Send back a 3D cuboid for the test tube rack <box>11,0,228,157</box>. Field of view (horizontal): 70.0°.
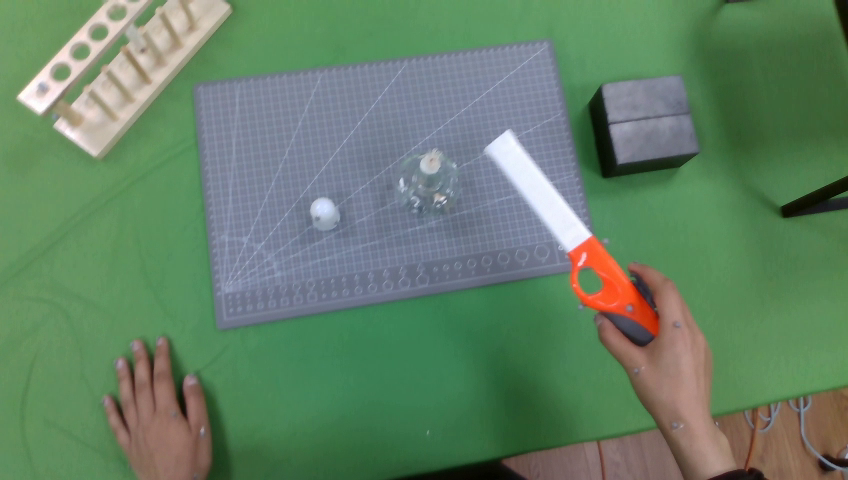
[{"bbox_3d":[-0.339,-0.220,0.696,0.066,0.085,0.242,35,78,4],"label":"test tube rack"}]

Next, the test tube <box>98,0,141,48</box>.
[{"bbox_3d":[-0.341,-0.256,0.654,0.017,0.151,0.017,1,73,-2],"label":"test tube"}]

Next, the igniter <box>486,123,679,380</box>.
[{"bbox_3d":[0.150,0.010,0.570,0.057,0.025,0.276,-36,85,12],"label":"igniter"}]

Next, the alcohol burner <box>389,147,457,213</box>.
[{"bbox_3d":[0.000,-0.072,0.673,0.078,0.119,0.077,1,76,-4],"label":"alcohol burner"}]

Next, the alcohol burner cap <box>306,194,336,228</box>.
[{"bbox_3d":[-0.119,-0.035,0.694,0.034,0.048,0.033,0,77,-1],"label":"alcohol burner cap"}]
